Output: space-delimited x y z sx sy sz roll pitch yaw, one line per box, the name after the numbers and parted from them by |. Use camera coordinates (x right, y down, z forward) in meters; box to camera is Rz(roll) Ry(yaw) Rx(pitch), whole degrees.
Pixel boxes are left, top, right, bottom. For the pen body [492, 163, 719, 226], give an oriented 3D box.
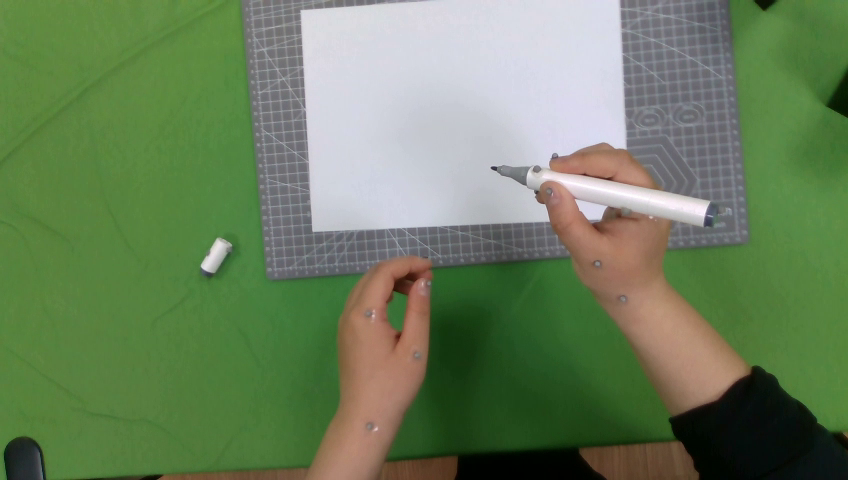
0.106 -0.032 0.379 0.143 0.017 0.017 17 92 30 | pen body

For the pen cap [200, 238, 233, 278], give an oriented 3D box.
-0.200 0.018 0.583 0.017 0.017 0.038 34 93 4 | pen cap
